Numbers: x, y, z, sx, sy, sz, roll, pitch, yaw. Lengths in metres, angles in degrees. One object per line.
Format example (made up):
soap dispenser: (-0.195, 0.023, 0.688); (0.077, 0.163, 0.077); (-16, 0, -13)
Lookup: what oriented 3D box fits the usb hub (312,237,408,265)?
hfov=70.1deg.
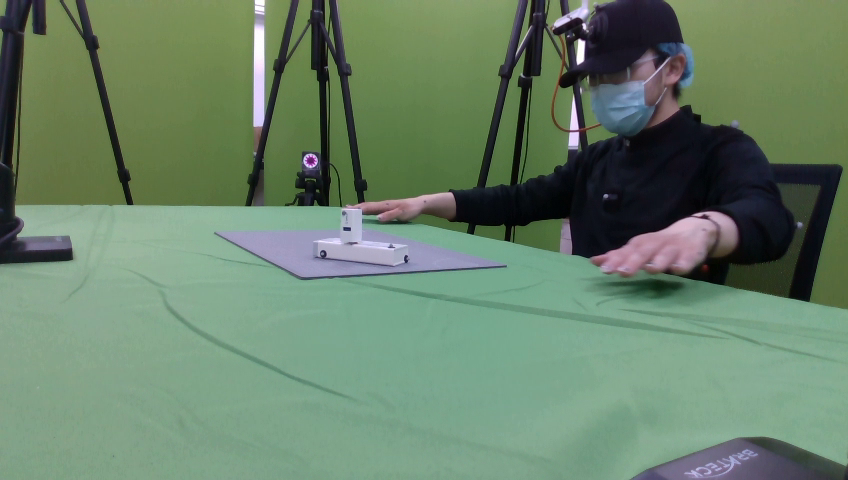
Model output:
usb hub: (-0.088, 0.014, 0.829); (0.125, 0.025, 0.050); (5, 8, 22)

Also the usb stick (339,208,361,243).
usb stick: (-0.100, -0.013, 0.815); (0.021, 0.059, 0.027); (5, 10, 20)
